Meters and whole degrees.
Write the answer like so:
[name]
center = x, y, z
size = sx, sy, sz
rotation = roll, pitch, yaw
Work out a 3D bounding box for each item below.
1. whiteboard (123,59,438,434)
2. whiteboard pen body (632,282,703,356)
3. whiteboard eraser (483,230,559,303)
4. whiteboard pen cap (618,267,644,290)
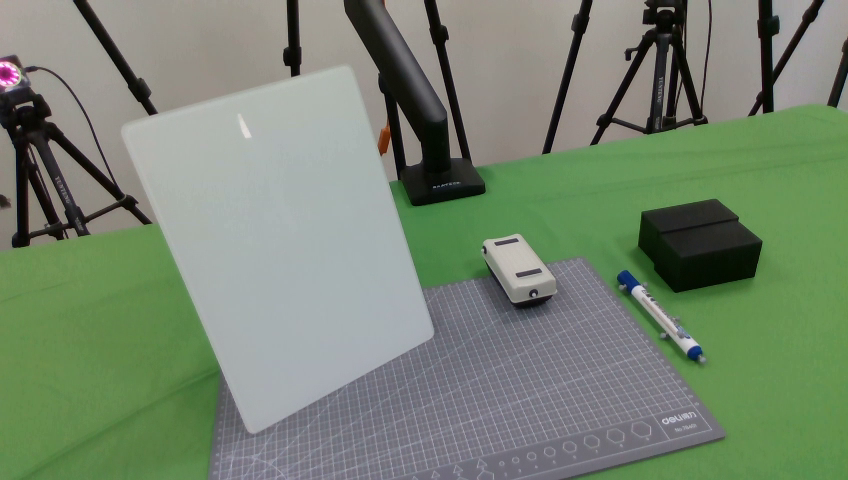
[whiteboard]
center = -0.147, -0.003, 0.636
size = 0.217, 0.307, 0.143
rotation = -24, 18, -25
[whiteboard pen body]
center = 0.257, 0.077, 0.661
size = 0.017, 0.017, 0.139
rotation = -12, 33, -8
[whiteboard eraser]
center = 0.113, 0.032, 0.726
size = 0.056, 0.042, 0.111
rotation = -14, 34, -9
[whiteboard pen cap]
center = 0.243, 0.046, 0.708
size = 0.018, 0.018, 0.033
rotation = -12, 32, -9
